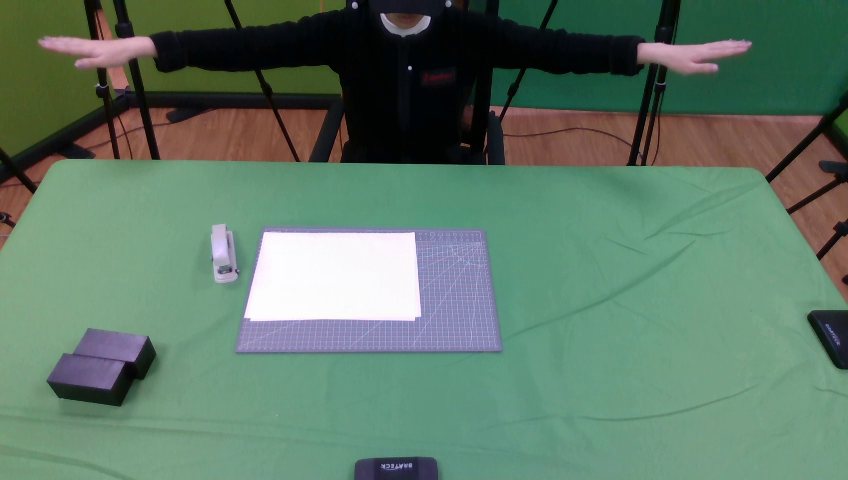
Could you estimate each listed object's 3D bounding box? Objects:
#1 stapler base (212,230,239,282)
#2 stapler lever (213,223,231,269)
[{"bbox_3d":[-0.377,0.024,1.144,0.041,0.024,0.129,-9,46,-15],"label":"stapler base"},{"bbox_3d":[-0.377,0.005,1.127,0.027,0.040,0.117,-10,46,-15],"label":"stapler lever"}]
